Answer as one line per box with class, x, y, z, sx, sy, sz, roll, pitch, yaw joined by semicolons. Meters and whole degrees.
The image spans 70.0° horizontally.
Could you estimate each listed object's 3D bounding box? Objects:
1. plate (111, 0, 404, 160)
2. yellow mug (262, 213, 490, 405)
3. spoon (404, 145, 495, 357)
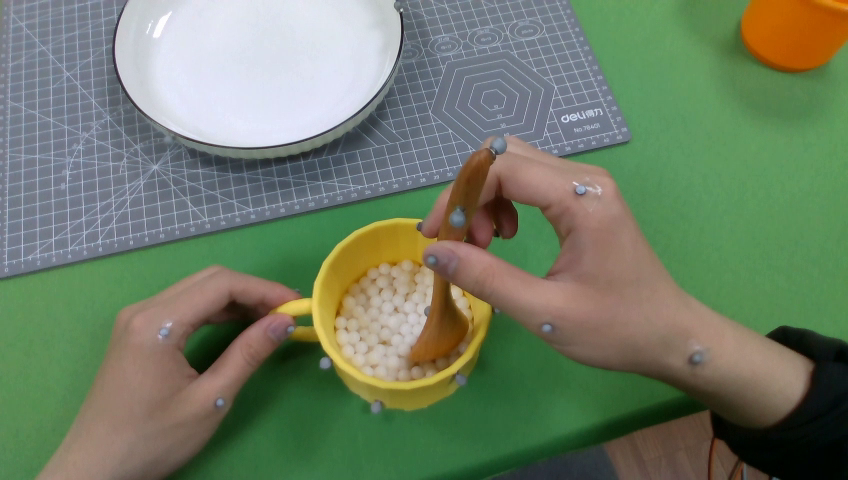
plate;-0.118;-0.145;0.451;0.208;0.039;0.206;1;66;-1
yellow mug;-0.029;0.043;0.358;0.131;0.064;0.099;-4;66;-3
spoon;0.010;0.017;0.293;0.041;0.195;0.021;-24;61;-17
